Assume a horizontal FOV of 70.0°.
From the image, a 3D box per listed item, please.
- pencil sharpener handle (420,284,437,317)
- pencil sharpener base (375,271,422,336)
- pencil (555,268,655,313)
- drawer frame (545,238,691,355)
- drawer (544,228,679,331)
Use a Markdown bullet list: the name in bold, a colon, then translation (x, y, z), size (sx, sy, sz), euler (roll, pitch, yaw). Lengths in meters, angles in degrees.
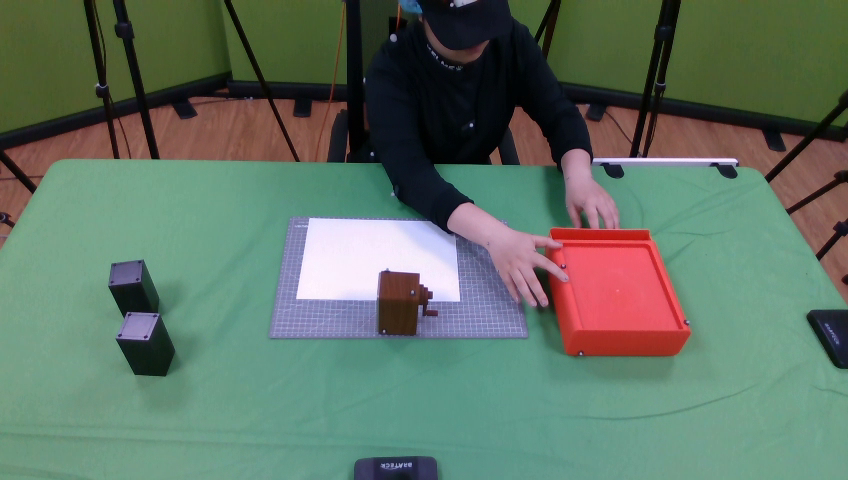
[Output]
- **pencil sharpener handle**: translation (0.009, 0.104, 1.016), size (0.030, 0.068, 0.036), euler (3, 38, -2)
- **pencil sharpener base**: translation (-0.042, 0.109, 1.025), size (0.077, 0.107, 0.061), euler (3, 45, -2)
- **pencil**: translation (0.335, 0.094, 1.126), size (0.193, 0.012, 0.012), euler (24, 49, 14)
- **drawer frame**: translation (0.337, 0.097, 1.085), size (0.202, 0.083, 0.212), euler (1, 46, -4)
- **drawer**: translation (0.336, 0.074, 1.109), size (0.195, 0.073, 0.210), euler (2, 46, -3)
